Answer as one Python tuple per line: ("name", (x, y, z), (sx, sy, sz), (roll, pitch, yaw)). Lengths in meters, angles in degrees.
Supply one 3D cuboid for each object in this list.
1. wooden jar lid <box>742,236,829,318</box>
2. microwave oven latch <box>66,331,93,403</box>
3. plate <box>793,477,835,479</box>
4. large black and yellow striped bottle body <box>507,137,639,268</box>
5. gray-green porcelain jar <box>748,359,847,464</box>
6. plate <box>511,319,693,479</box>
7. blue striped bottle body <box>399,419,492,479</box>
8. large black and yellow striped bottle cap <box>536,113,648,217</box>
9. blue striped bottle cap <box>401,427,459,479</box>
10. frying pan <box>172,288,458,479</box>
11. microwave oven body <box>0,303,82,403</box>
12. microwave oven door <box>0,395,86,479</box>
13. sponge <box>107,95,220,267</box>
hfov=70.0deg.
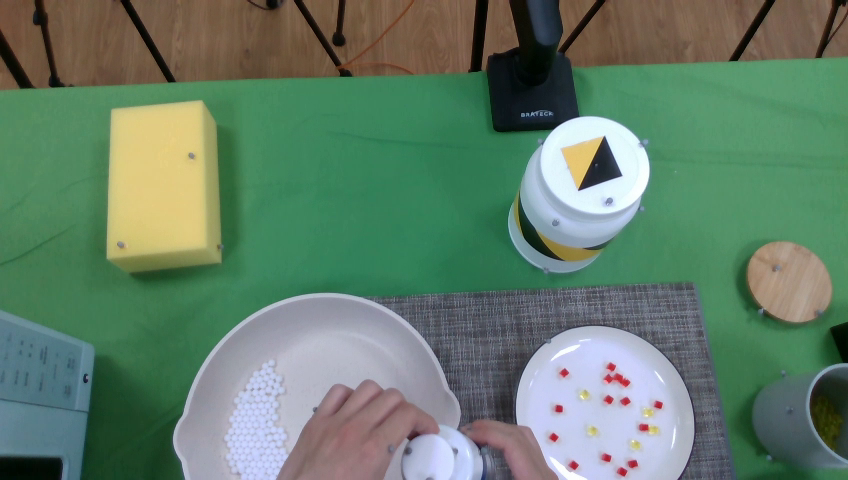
("wooden jar lid", (0.461, 0.048, 0.778), (0.108, 0.021, 0.107), (0, 73, -1))
("microwave oven latch", (-0.399, 0.145, 0.691), (0.030, 0.029, 0.078), (-2, 72, -3))
("plate", (0.437, 0.368, 0.661), (0.208, 0.039, 0.206), (0, 71, -1))
("large black and yellow striped bottle body", (0.174, -0.052, 0.717), (0.131, 0.185, 0.130), (0, 71, -1))
("gray-green porcelain jar", (0.435, 0.193, 0.673), (0.106, 0.127, 0.105), (1, 71, -1))
("plate", (0.203, 0.197, 0.707), (0.209, 0.038, 0.207), (0, 72, -1))
("blue striped bottle body", (0.019, 0.191, 0.526), (0.063, 0.122, 0.062), (-6, 67, 15))
("large black and yellow striped bottle cap", (0.176, -0.080, 0.636), (0.115, 0.019, 0.114), (0, 70, -1))
("blue striped bottle cap", (0.004, 0.171, 0.480), (0.044, 0.021, 0.044), (-4, 71, 13))
("frying pan", (-0.108, 0.294, 0.632), (0.307, 0.103, 0.483), (-4, 63, -1))
("microwave oven body", (-0.538, 0.285, 0.538), (0.326, 0.261, 0.438), (-2, 72, -3))
("microwave oven door", (-0.390, 0.318, 0.526), (0.039, 0.245, 0.353), (-3, 71, -2))
("sponge", (-0.332, -0.076, 0.774), (0.118, 0.061, 0.205), (-8, 73, -4))
